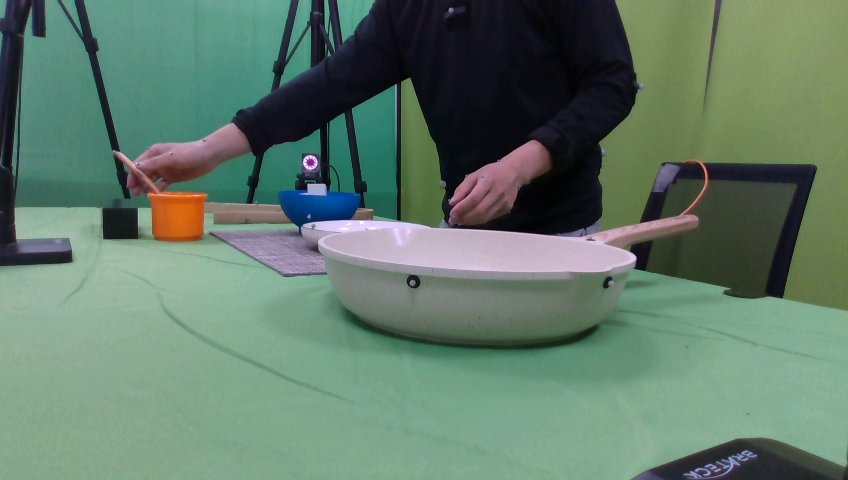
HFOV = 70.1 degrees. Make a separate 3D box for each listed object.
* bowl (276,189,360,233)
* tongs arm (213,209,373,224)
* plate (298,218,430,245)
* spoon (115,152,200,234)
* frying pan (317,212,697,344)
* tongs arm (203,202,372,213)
[{"bbox_3d":[-0.195,-0.052,1.113,0.151,0.077,0.151,2,7,0],"label":"bowl"},{"bbox_3d":[-0.274,-0.053,1.347,0.390,0.028,0.028,-3,7,-37],"label":"tongs arm"},{"bbox_3d":[-0.091,-0.006,0.949,0.208,0.039,0.207,2,8,0],"label":"plate"},{"bbox_3d":[-0.439,-0.077,0.994,0.193,0.021,0.042,48,13,5],"label":"spoon"},{"bbox_3d":[0.133,0.013,0.629,0.490,0.102,0.305,-12,14,-31],"label":"frying pan"},{"bbox_3d":[-0.312,-0.068,1.418,0.387,0.026,0.050,0,9,-24],"label":"tongs arm"}]
